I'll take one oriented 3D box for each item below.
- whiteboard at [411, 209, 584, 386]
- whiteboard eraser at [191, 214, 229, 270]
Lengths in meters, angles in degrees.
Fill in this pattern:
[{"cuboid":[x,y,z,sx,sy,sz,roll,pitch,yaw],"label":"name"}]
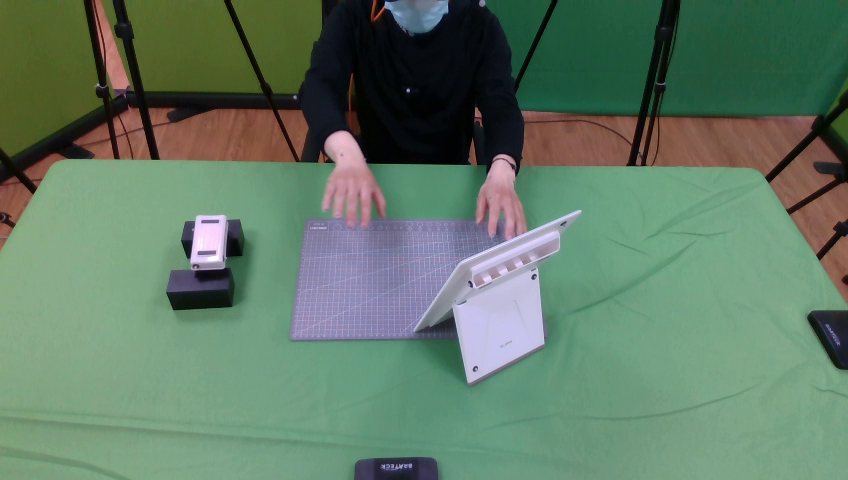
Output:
[{"cuboid":[0.134,0.110,0.944,0.217,0.306,0.143,-21,72,-23],"label":"whiteboard"},{"cuboid":[-0.381,0.005,1.083,0.056,0.042,0.112,0,50,-12],"label":"whiteboard eraser"}]
